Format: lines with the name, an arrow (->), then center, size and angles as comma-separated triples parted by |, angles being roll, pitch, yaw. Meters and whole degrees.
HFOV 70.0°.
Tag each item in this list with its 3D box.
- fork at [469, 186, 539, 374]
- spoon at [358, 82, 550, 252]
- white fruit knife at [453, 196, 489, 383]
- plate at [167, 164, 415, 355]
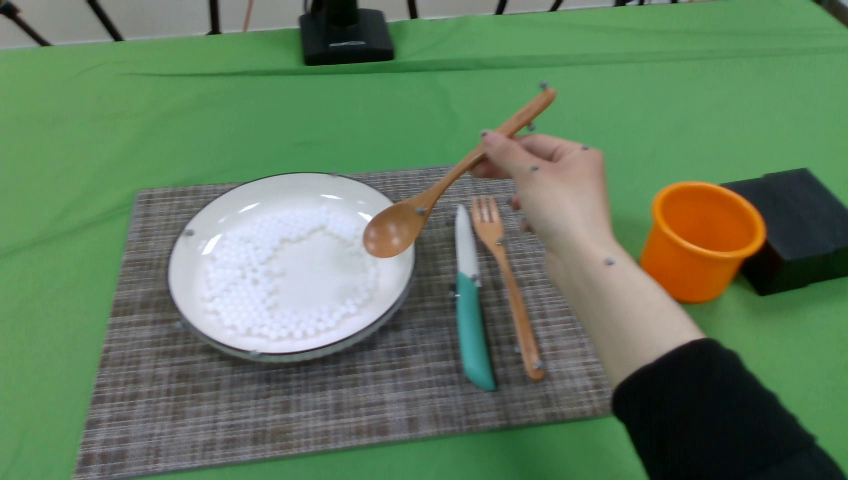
fork -> 0.070, 0.026, 0.538 | 0.028, 0.019, 0.205 | 2, 46, -16
spoon -> 0.022, -0.056, 0.479 | 0.194, 0.022, 0.041 | -40, 69, 18
white fruit knife -> 0.037, 0.032, 0.536 | 0.027, 0.016, 0.205 | 23, 41, -24
plate -> -0.111, 0.014, 0.529 | 0.209, 0.038, 0.207 | 1, 48, -1
